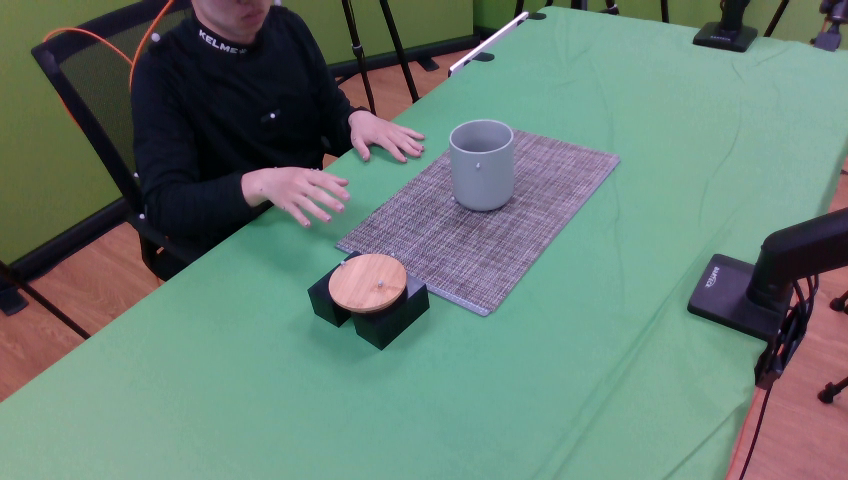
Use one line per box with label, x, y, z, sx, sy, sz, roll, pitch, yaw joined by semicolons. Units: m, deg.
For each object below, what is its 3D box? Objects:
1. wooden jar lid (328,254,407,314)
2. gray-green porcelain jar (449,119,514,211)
wooden jar lid;-0.077;0.062;0.832;0.108;0.021;0.108;-4;39;4
gray-green porcelain jar;0.098;-0.120;1.008;0.106;0.127;0.105;-4;41;4
